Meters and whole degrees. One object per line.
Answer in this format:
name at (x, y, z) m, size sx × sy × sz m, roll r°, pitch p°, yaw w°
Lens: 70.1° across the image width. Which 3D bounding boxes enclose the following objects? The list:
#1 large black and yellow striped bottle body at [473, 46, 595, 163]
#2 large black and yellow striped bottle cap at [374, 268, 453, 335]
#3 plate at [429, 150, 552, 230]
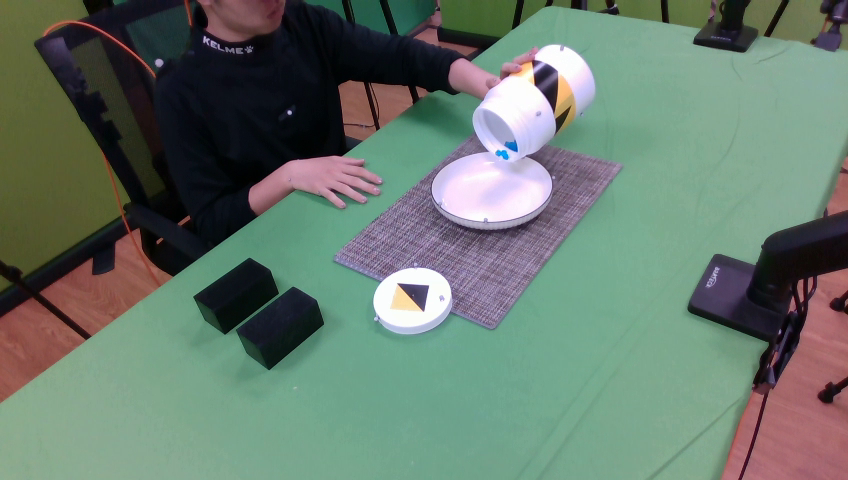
large black and yellow striped bottle body at (0.184, -0.228, 1.027) m, size 0.184 × 0.131 × 0.129 m, roll -41°, pitch 50°, yaw -18°
large black and yellow striped bottle cap at (-0.015, 0.087, 0.871) m, size 0.115 × 0.019 × 0.114 m, roll -6°, pitch 43°, yaw 6°
plate at (0.113, -0.082, 1.032) m, size 0.207 × 0.039 × 0.206 m, roll -4°, pitch 41°, yaw 4°
